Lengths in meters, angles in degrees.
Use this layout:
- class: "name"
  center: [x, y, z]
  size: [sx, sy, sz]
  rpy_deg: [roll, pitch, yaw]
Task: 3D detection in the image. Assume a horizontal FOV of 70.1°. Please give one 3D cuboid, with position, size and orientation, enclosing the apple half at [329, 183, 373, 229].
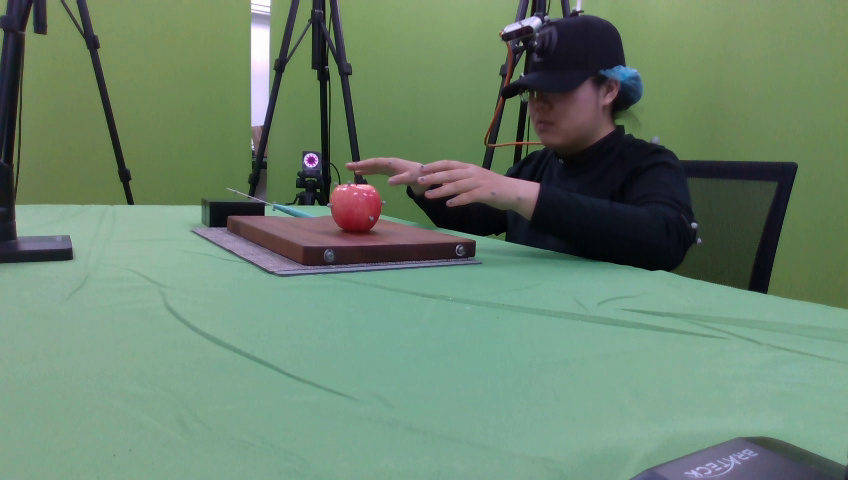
- class: "apple half"
  center: [-0.123, -0.056, 0.970]
  size: [0.082, 0.081, 0.032]
  rpy_deg: [-3, 13, -36]

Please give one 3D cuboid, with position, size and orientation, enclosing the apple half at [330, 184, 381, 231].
- class: "apple half"
  center: [-0.100, -0.049, 0.939]
  size: [0.081, 0.074, 0.053]
  rpy_deg: [1, 11, -36]

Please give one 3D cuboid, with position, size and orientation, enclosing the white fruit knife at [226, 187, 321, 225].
- class: "white fruit knife"
  center: [-0.298, -0.068, 1.213]
  size: [0.208, 0.016, 0.027]
  rpy_deg: [20, -3, -31]
